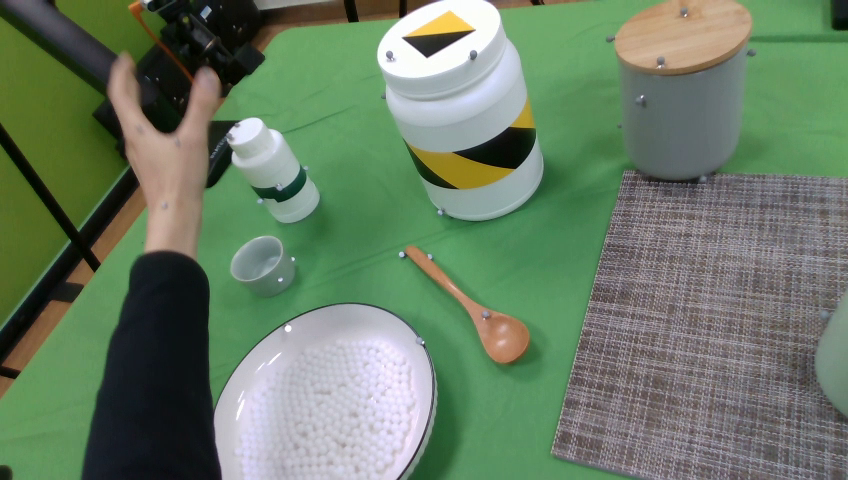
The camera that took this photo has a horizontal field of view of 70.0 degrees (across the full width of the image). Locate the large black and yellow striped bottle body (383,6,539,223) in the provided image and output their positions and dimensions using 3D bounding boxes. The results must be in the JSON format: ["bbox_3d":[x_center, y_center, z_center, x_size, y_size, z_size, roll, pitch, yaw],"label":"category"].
[{"bbox_3d":[0.037,-0.121,0.604,0.130,0.186,0.129,-11,49,13],"label":"large black and yellow striped bottle body"}]

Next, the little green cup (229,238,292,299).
[{"bbox_3d":[-0.177,0.033,0.662,0.061,0.039,0.061,-11,47,13],"label":"little green cup"}]

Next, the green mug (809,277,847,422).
[{"bbox_3d":[0.317,0.070,0.375,0.124,0.106,0.092,15,58,32],"label":"green mug"}]

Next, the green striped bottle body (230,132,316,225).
[{"bbox_3d":[-0.178,-0.077,0.700,0.063,0.120,0.062,-12,48,14],"label":"green striped bottle body"}]

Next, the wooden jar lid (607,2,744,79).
[{"bbox_3d":[0.215,-0.168,0.522,0.108,0.021,0.107,-14,45,15],"label":"wooden jar lid"}]

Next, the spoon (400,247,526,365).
[{"bbox_3d":[0.029,0.052,0.572,0.041,0.022,0.191,-50,49,1],"label":"spoon"}]

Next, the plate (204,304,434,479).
[{"bbox_3d":[-0.087,0.151,0.525,0.209,0.038,0.207,-11,48,13],"label":"plate"}]

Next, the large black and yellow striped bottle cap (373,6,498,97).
[{"bbox_3d":[0.010,-0.171,0.543,0.115,0.019,0.114,-11,48,12],"label":"large black and yellow striped bottle cap"}]

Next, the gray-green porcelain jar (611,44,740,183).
[{"bbox_3d":[0.232,-0.126,0.565,0.106,0.128,0.105,-11,45,11],"label":"gray-green porcelain jar"}]

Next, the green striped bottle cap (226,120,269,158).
[{"bbox_3d":[-0.193,-0.110,0.663,0.044,0.020,0.044,-10,50,12],"label":"green striped bottle cap"}]
